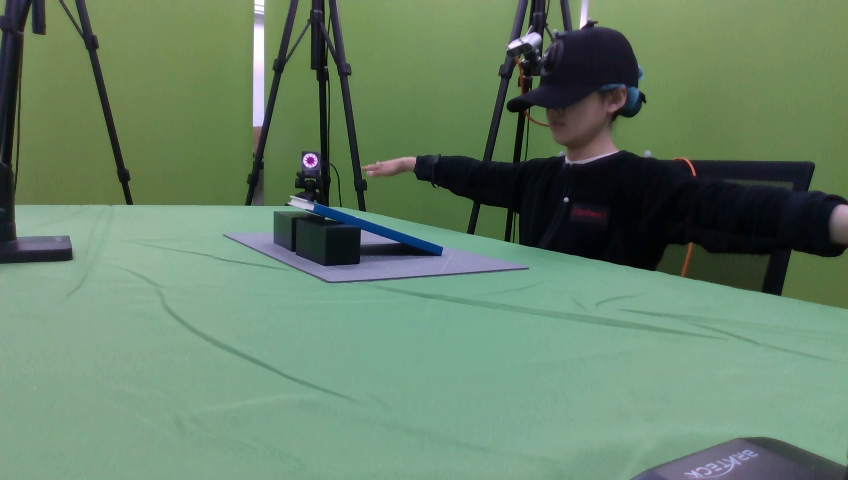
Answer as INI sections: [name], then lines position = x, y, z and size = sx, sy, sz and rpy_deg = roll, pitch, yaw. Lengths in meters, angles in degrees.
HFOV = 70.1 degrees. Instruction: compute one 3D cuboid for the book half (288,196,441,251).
[book half]
position = -0.092, -0.026, 0.920
size = 0.211, 0.007, 0.142
rpy_deg = 19, -1, -27
